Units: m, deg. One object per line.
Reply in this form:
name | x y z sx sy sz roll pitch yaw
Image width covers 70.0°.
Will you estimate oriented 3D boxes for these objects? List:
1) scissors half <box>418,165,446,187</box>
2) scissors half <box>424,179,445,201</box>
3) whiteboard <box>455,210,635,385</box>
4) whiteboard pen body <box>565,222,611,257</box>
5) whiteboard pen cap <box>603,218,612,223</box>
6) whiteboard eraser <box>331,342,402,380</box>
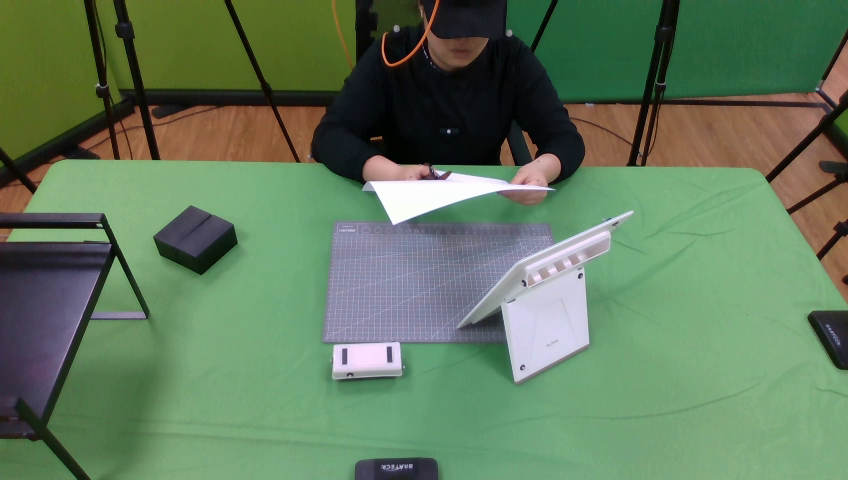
scissors half | 0.016 -0.118 1.155 0.013 0.040 0.174 -23 18 -10
scissors half | 0.023 -0.099 1.159 0.013 0.175 0.040 -28 91 -9
whiteboard | 0.211 0.111 0.955 0.217 0.306 0.143 -21 71 -23
whiteboard pen body | 0.336 -0.004 1.227 0.141 0.017 0.017 -32 56 -28
whiteboard pen cap | 0.379 -0.031 1.255 0.033 0.018 0.018 -33 57 -29
whiteboard eraser | -0.094 0.198 0.986 0.113 0.042 0.055 -2 44 -6
